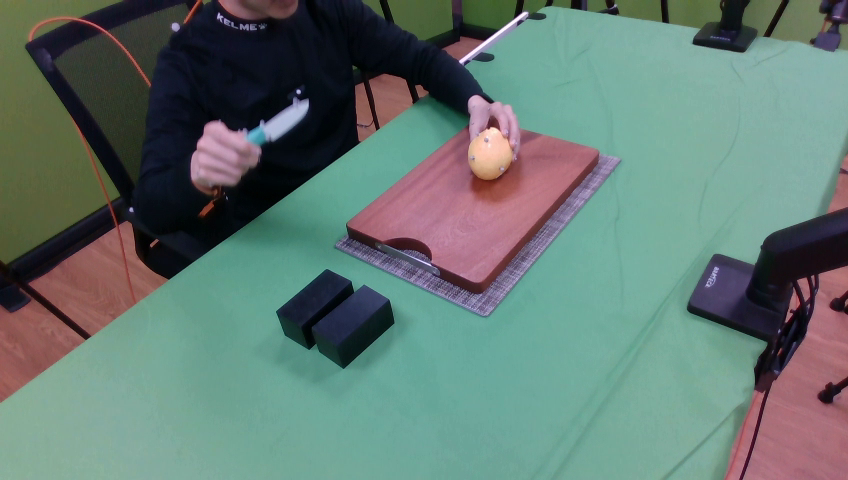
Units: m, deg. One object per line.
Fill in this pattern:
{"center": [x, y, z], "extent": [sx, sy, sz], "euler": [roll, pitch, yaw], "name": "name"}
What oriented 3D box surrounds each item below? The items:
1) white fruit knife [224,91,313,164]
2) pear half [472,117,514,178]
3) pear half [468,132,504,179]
{"center": [-0.204, -0.144, 0.779], "extent": [0.206, 0.028, 0.016], "euler": [-23, 46, 41], "name": "white fruit knife"}
{"center": [0.119, -0.165, 1.032], "extent": [0.076, 0.110, 0.056], "euler": [20, 46, 22], "name": "pear half"}
{"center": [0.100, -0.137, 1.018], "extent": [0.070, 0.088, 0.031], "euler": [22, 48, 21], "name": "pear half"}
